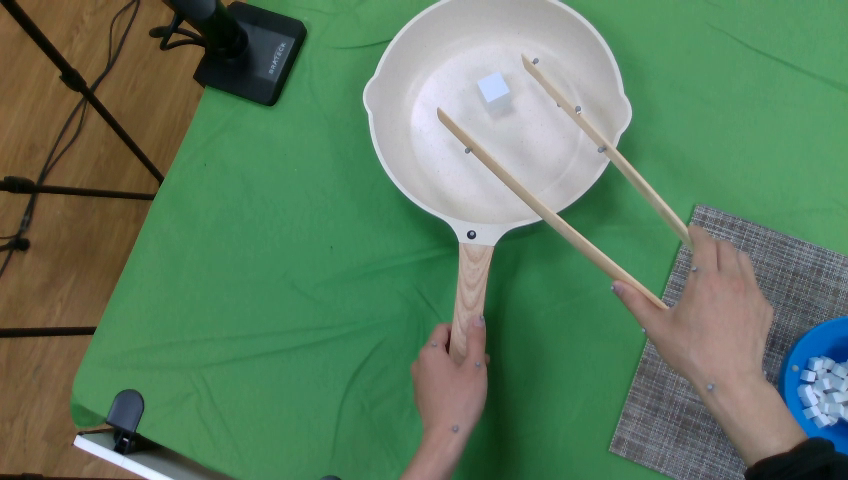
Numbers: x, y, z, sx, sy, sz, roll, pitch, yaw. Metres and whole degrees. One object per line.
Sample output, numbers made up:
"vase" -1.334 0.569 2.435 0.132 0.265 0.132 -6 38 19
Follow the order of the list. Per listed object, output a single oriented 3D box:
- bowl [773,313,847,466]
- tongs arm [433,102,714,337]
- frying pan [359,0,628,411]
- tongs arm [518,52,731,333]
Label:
"bowl" 0.428 0.152 0.623 0.151 0.077 0.150 -1 79 6
"tongs arm" 0.127 -0.036 0.618 0.028 0.028 0.383 -35 58 -13
"frying pan" 0.062 -0.055 0.689 0.306 0.103 0.485 7 72 8
"tongs arm" 0.183 -0.071 0.625 0.051 0.027 0.380 -29 58 -6
